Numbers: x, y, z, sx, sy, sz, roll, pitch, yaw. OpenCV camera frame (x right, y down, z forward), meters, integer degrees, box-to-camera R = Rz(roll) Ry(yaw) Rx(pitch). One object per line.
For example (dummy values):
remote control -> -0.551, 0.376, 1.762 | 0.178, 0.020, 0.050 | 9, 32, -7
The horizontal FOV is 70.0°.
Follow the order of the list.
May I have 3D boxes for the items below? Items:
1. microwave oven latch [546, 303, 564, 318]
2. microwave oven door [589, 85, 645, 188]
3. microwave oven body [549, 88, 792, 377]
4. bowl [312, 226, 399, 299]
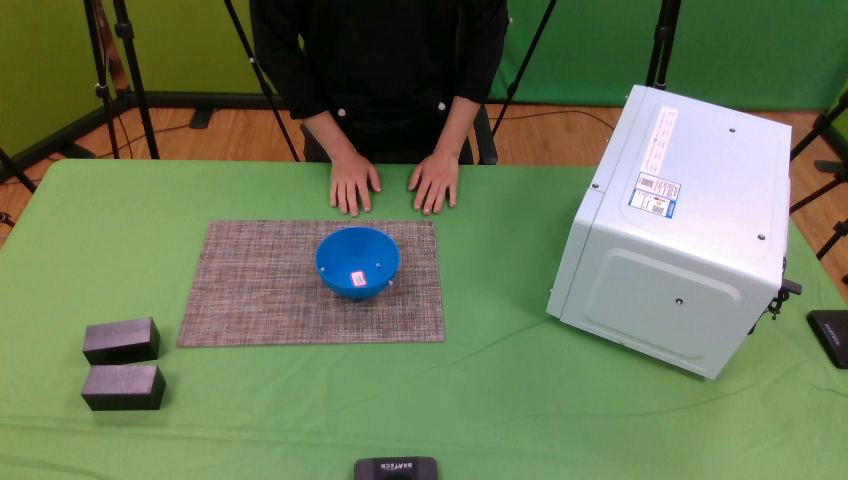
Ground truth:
microwave oven latch -> 0.242, 0.102, 1.081 | 0.030, 0.029, 0.079 | 21, 48, 17
microwave oven door -> 0.342, -0.107, 1.149 | 0.039, 0.245, 0.354 | 20, 48, 15
microwave oven body -> 0.456, -0.028, 1.088 | 0.325, 0.261, 0.440 | 20, 47, 16
bowl -> -0.120, 0.054, 1.091 | 0.151, 0.077, 0.150 | 2, 46, -2
